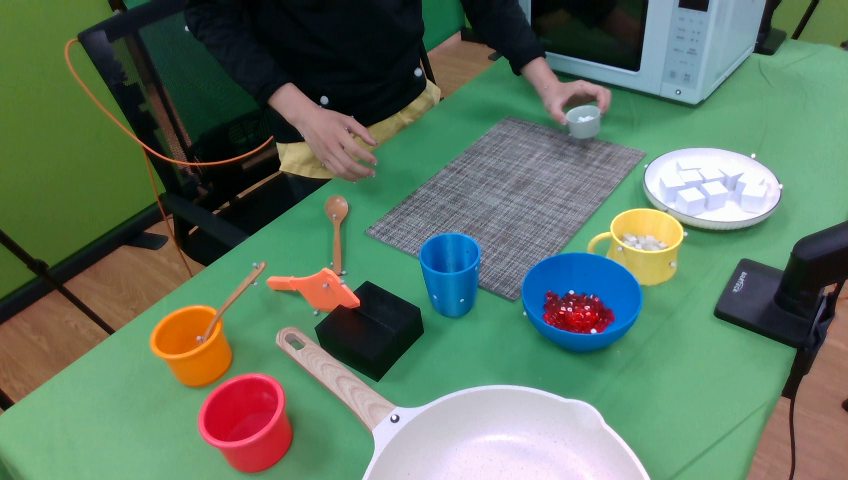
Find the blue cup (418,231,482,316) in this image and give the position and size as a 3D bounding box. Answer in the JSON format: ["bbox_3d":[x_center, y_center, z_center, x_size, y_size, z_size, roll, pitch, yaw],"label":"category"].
[{"bbox_3d":[0.040,0.053,0.843,0.092,0.100,0.092,-4,43,4],"label":"blue cup"}]

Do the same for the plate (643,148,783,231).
[{"bbox_3d":[0.464,-0.080,0.986,0.207,0.039,0.206,-4,41,4],"label":"plate"}]

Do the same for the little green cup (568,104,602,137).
[{"bbox_3d":[0.299,-0.219,1.116,0.061,0.039,0.061,-12,38,10],"label":"little green cup"}]

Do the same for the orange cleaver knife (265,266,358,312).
[{"bbox_3d":[-0.164,0.073,0.864,0.210,0.077,0.012,-6,31,50],"label":"orange cleaver knife"}]

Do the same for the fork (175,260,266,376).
[{"bbox_3d":[-0.268,0.103,0.792,0.207,0.019,0.028,-51,41,16],"label":"fork"}]

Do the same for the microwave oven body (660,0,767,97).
[{"bbox_3d":[0.473,-0.516,1.314,0.438,0.261,0.327,26,51,34],"label":"microwave oven body"}]

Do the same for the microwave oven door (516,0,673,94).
[{"bbox_3d":[0.344,-0.458,1.257,0.353,0.245,0.039,26,52,33],"label":"microwave oven door"}]

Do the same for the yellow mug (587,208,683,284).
[{"bbox_3d":[0.305,0.009,0.884,0.131,0.064,0.099,-4,41,5],"label":"yellow mug"}]

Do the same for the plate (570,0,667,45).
[{"bbox_3d":[0.436,-0.490,1.368,0.209,0.038,0.208,-5,40,5],"label":"plate"}]

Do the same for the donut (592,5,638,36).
[{"bbox_3d":[0.428,-0.492,1.352,0.099,0.048,0.098,-6,42,6],"label":"donut"}]

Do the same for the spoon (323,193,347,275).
[{"bbox_3d":[-0.148,-0.014,1.008,0.042,0.022,0.192,1,40,-9],"label":"spoon"}]

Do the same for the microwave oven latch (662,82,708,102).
[{"bbox_3d":[0.517,-0.298,1.202,0.078,0.029,0.030,27,52,34],"label":"microwave oven latch"}]

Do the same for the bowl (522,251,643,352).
[{"bbox_3d":[0.204,0.093,0.792,0.151,0.077,0.150,-4,40,4],"label":"bowl"}]

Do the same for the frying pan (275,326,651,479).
[{"bbox_3d":[0.004,0.229,0.641,0.484,0.103,0.308,34,54,28],"label":"frying pan"}]
